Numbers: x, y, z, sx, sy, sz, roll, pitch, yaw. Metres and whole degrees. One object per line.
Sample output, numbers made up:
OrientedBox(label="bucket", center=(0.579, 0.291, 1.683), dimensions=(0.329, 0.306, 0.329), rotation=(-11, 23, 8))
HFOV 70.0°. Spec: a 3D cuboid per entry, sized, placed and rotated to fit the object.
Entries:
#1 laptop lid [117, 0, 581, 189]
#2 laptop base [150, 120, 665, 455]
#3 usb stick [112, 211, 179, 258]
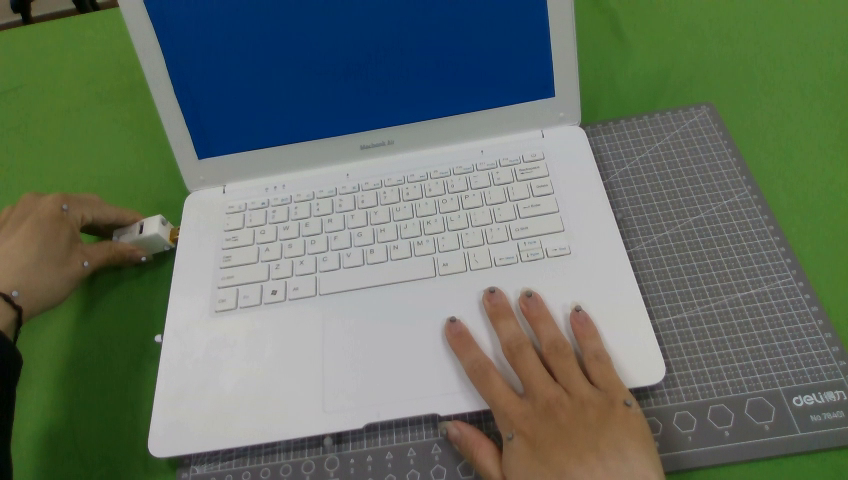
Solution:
OrientedBox(label="laptop lid", center=(-0.058, -0.173, 0.484), dimensions=(0.356, 0.243, 0.013), rotation=(-11, 26, 4))
OrientedBox(label="laptop base", center=(-0.026, 0.025, 0.469), dimensions=(0.354, 0.023, 0.233), rotation=(-10, 58, 3))
OrientedBox(label="usb stick", center=(-0.230, -0.006, 0.514), dimensions=(0.059, 0.027, 0.021), rotation=(-15, 53, 4))
